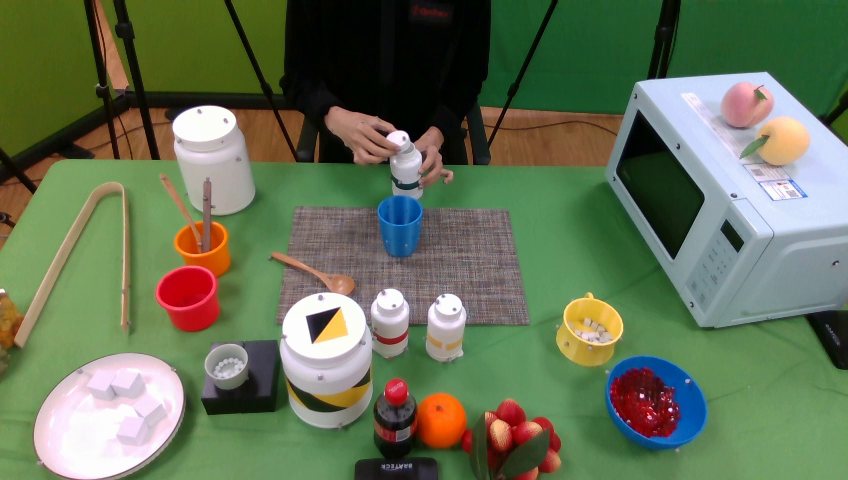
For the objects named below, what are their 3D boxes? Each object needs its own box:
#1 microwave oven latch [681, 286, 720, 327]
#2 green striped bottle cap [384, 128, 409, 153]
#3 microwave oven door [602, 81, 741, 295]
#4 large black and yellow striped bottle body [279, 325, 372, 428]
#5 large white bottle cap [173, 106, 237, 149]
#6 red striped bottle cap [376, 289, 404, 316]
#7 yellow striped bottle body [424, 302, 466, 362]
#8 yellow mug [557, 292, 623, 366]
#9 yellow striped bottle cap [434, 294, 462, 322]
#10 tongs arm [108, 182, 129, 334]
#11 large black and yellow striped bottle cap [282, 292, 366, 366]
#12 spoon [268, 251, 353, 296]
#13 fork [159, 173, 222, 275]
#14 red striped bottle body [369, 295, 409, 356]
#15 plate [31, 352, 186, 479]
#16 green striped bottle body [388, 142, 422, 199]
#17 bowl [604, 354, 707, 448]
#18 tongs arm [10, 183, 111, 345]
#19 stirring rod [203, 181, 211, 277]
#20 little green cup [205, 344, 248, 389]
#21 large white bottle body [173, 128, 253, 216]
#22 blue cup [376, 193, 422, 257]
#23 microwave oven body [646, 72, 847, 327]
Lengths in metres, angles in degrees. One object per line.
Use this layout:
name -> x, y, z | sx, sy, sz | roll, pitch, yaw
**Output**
microwave oven latch -> 0.494, 0.119, 1.086 | 0.030, 0.029, 0.078 | -5, 46, -9
green striped bottle cap -> -0.051, -0.185, 1.123 | 0.044, 0.020, 0.044 | -4, 62, 7
microwave oven door -> 0.456, -0.107, 1.162 | 0.039, 0.245, 0.353 | -7, 47, -11
large black and yellow striped bottle body -> -0.143, 0.181, 0.900 | 0.131, 0.185, 0.130 | 2, 46, -2
large white bottle cap -> -0.411, -0.212, 1.138 | 0.115, 0.018, 0.114 | 2, 47, -2
red striped bottle cap -> -0.055, 0.098, 0.958 | 0.044, 0.018, 0.044 | 0, 48, 0
yellow striped bottle body -> 0.035, 0.143, 0.995 | 0.063, 0.121, 0.062 | 3, 46, -2
yellow mug -> 0.285, 0.145, 1.051 | 0.100, 0.064, 0.130 | 7, 45, 4
yellow striped bottle cap -> 0.038, 0.107, 0.958 | 0.044, 0.019, 0.044 | 2, 45, -2
tongs arm -> -0.571, 0.019, 1.123 | 0.051, 0.026, 0.382 | -11, 47, -11
large black and yellow striped bottle cap -> -0.138, 0.121, 0.841 | 0.115, 0.019, 0.114 | 3, 47, -3
spoon -> -0.212, 0.057, 1.121 | 0.193, 0.022, 0.041 | 24, 74, 18
fork -> -0.427, -0.029, 1.103 | 0.028, 0.018, 0.207 | -31, 99, -30
red striped bottle body -> -0.059, 0.134, 0.997 | 0.063, 0.120, 0.062 | 5, 47, -5
plate -> -0.459, 0.262, 0.898 | 0.209, 0.038, 0.208 | 2, 46, -2
green striped bottle body -> -0.037, -0.137, 1.184 | 0.063, 0.120, 0.063 | -1, 50, 1
bowl -> 0.346, 0.261, 0.937 | 0.151, 0.077, 0.150 | 2, 46, -2
tongs arm -> -0.658, 0.027, 1.109 | 0.028, 0.028, 0.385 | -2, 45, 2
stirring rod -> -0.397, -0.021, 1.108 | 0.014, 0.006, 0.176 | 0, 89, -2
little green cup -> -0.294, 0.191, 0.909 | 0.061, 0.039, 0.061 | 1, 47, -1
large white bottle body -> -0.416, -0.154, 1.199 | 0.131, 0.185, 0.130 | 2, 46, -2
blue cup -> -0.047, -0.021, 1.155 | 0.093, 0.101, 0.092 | 1, 46, -1
microwave oven body -> 0.607, -0.089, 1.164 | 0.326, 0.261, 0.438 | -7, 46, -10
